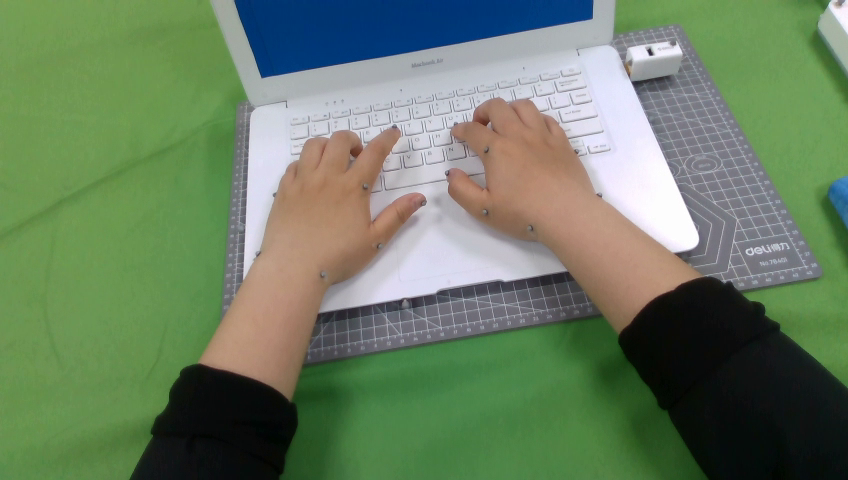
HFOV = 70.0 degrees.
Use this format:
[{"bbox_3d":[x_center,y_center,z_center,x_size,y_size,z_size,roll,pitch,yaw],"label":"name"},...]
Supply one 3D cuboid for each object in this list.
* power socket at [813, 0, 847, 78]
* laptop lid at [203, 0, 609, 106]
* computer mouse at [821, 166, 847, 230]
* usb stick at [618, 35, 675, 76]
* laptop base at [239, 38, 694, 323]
[{"bbox_3d":[0.407,-0.141,0.511,0.072,0.033,0.224,-7,56,4],"label":"power socket"},{"bbox_3d":[-0.016,-0.241,0.506,0.357,0.244,0.013,-11,43,2],"label":"laptop lid"},{"bbox_3d":[0.343,-0.015,0.434,0.063,0.041,0.116,-10,51,4],"label":"computer mouse"},{"bbox_3d":[0.195,-0.167,0.551,0.059,0.027,0.021,-10,56,5],"label":"usb stick"},{"bbox_3d":[0.017,-0.061,0.522,0.354,0.023,0.233,-10,60,1],"label":"laptop base"}]
